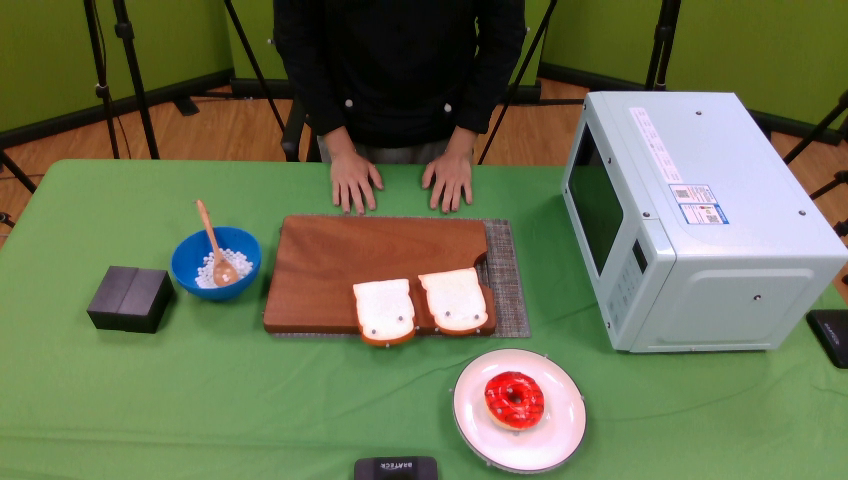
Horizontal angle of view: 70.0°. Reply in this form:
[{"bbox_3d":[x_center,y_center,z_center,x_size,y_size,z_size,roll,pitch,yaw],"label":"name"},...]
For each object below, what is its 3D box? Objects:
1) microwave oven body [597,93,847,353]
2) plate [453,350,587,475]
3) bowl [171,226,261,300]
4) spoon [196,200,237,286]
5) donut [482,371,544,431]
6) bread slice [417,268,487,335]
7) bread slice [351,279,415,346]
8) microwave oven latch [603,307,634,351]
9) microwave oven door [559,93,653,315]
[{"bbox_3d":[0.475,-0.041,1.109,0.326,0.261,0.438,-1,45,-4],"label":"microwave oven body"},{"bbox_3d":[0.146,0.267,0.943,0.208,0.039,0.206,2,46,-2],"label":"plate"},{"bbox_3d":[-0.363,0.054,1.081,0.151,0.077,0.150,2,45,-2],"label":"bowl"},{"bbox_3d":[-0.378,0.003,1.086,0.042,0.022,0.192,-15,67,-24],"label":"spoon"},{"bbox_3d":[0.139,0.250,0.942,0.099,0.048,0.098,5,45,-4],"label":"donut"},{"bbox_3d":[0.055,0.107,1.063,0.107,0.018,0.133,-9,48,-12],"label":"bread slice"},{"bbox_3d":[-0.067,0.122,1.040,0.105,0.019,0.130,-7,47,-9],"label":"bread slice"},{"bbox_3d":[0.332,0.153,1.044,0.030,0.029,0.078,0,45,-4],"label":"microwave oven latch"},{"bbox_3d":[0.327,-0.074,1.123,0.039,0.245,0.353,-1,46,-5],"label":"microwave oven door"}]
